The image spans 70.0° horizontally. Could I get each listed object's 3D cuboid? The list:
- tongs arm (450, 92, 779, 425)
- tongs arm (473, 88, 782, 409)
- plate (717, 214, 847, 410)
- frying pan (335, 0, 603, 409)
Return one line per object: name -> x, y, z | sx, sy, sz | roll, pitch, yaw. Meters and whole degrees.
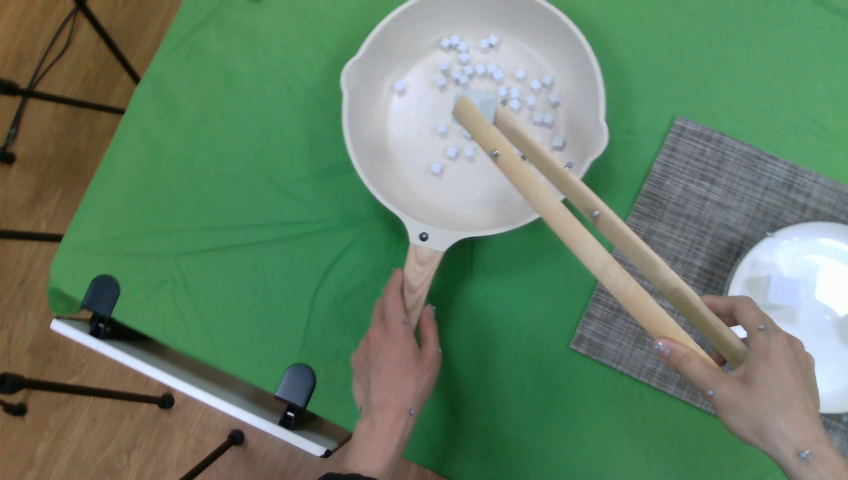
tongs arm -> 0.147, 0.004, 0.532 | 0.385, 0.028, 0.028 | 50, 131, 18
tongs arm -> 0.164, -0.003, 0.548 | 0.382, 0.051, 0.026 | 47, 134, 15
plate -> 0.423, 0.076, 0.659 | 0.207, 0.039, 0.207 | -1, 83, 5
frying pan -> 0.017, -0.053, 0.678 | 0.306, 0.103, 0.486 | 17, 77, 7
